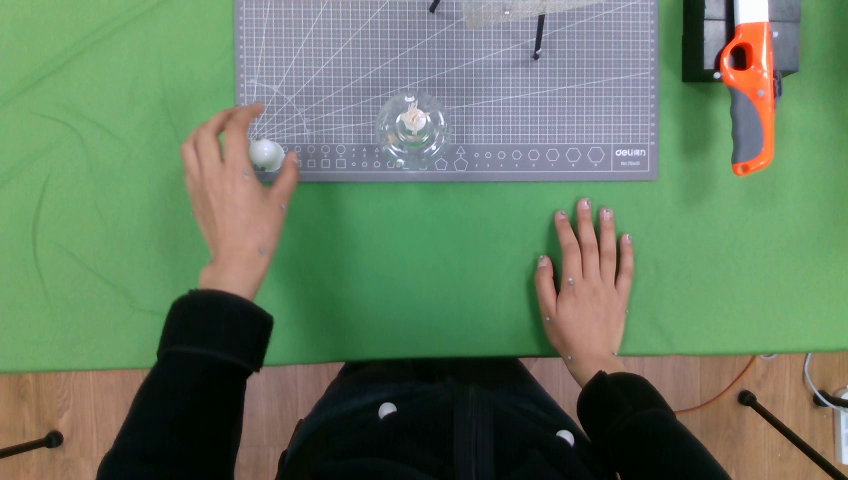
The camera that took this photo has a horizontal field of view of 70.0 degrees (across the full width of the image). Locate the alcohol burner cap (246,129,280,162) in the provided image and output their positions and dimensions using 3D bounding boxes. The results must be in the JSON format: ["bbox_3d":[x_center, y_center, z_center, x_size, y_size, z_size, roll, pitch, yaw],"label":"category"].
[{"bbox_3d":[-0.166,-0.098,0.618,0.034,0.048,0.034,0,93,-7],"label":"alcohol burner cap"}]

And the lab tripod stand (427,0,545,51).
[{"bbox_3d":[0.077,-0.262,0.578,0.148,0.131,0.148,0,90,-1],"label":"lab tripod stand"}]

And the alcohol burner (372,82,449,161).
[{"bbox_3d":[-0.013,-0.117,0.589,0.078,0.119,0.078,0,93,-2],"label":"alcohol burner"}]

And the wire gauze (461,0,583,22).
[{"bbox_3d":[0.079,-0.254,0.512,0.125,0.011,0.121,-14,93,-4],"label":"wire gauze"}]

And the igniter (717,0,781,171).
[{"bbox_3d":[0.321,-0.208,0.600,0.057,0.025,0.276,-1,92,9],"label":"igniter"}]
